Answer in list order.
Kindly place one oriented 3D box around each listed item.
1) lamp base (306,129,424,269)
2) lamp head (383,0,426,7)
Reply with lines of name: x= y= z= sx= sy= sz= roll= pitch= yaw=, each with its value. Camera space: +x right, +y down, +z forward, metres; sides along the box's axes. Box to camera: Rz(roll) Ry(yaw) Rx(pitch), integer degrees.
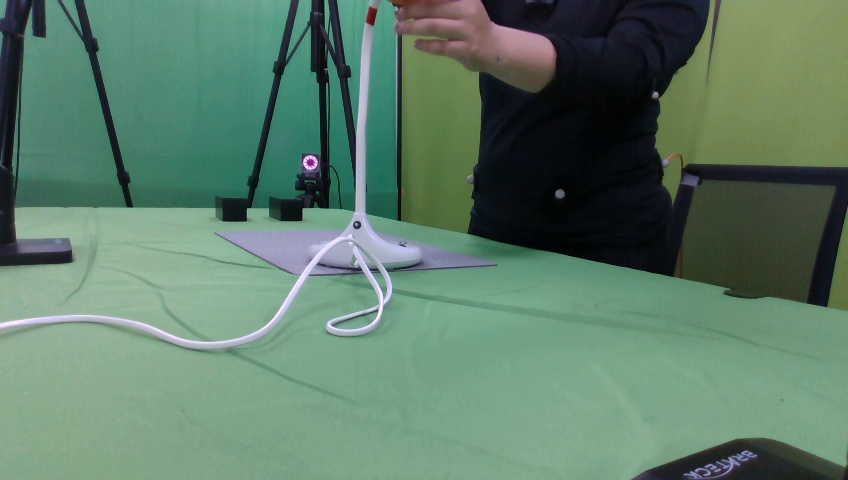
lamp base: x=-0.077 y=-0.057 z=0.810 sx=0.161 sy=0.180 sz=0.179 roll=2 pitch=10 yaw=-4
lamp head: x=-0.025 y=-0.325 z=0.671 sx=0.112 sy=0.123 sz=0.112 roll=4 pitch=3 yaw=0
